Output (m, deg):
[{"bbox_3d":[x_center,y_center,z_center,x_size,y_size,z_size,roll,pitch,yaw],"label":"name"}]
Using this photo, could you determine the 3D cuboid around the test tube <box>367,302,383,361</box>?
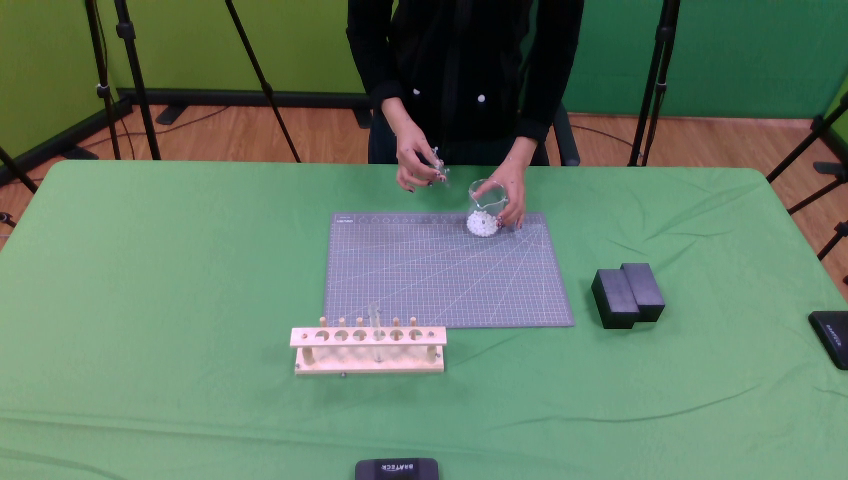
[{"bbox_3d":[-0.075,0.145,0.941,0.017,0.151,0.017,0,49,0],"label":"test tube"}]

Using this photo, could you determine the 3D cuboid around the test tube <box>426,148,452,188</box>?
[{"bbox_3d":[0.031,-0.136,1.163,0.017,0.151,0.017,-5,69,14],"label":"test tube"}]

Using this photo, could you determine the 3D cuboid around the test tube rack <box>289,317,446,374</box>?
[{"bbox_3d":[-0.089,0.167,0.988,0.242,0.085,0.066,0,46,-4],"label":"test tube rack"}]

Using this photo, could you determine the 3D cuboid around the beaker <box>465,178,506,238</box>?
[{"bbox_3d":[0.119,-0.059,1.209,0.074,0.101,0.083,16,48,12],"label":"beaker"}]
